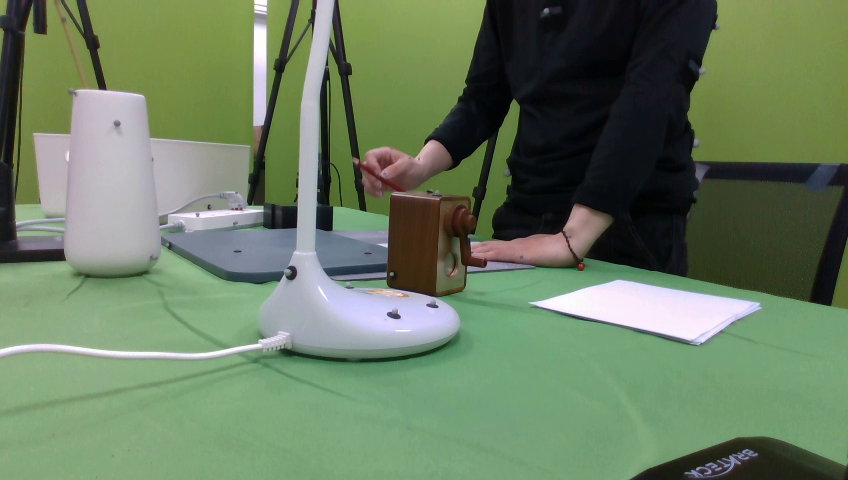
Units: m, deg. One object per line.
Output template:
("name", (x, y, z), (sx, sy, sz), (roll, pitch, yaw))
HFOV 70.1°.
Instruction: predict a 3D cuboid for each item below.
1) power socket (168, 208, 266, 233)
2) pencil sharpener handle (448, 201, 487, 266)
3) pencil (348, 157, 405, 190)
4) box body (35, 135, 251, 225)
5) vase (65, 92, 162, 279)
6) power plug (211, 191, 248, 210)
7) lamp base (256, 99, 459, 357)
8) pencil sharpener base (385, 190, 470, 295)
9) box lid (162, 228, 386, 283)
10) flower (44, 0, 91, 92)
("power socket", (-0.379, -0.038, 1.129), (0.072, 0.032, 0.227), (4, 8, 18))
("pencil sharpener handle", (0.049, -0.006, 0.623), (0.030, 0.068, 0.036), (8, 22, 37))
("pencil", (-0.047, -0.091, 1.033), (0.194, 0.012, 0.012), (31, 9, -1))
("box body", (-0.559, -0.127, 1.257), (0.253, 0.160, 0.365), (4, 8, 15))
("vase", (-0.347, -0.060, 0.673), (0.098, 0.200, 0.098), (1, 7, 0))
("power plug", (-0.384, -0.071, 1.205), (0.072, 0.052, 0.035), (1, 8, 28))
("lamp base", (-0.055, -0.013, 0.463), (0.160, 0.180, 0.180), (6, 11, 27))
("pencil sharpener base", (0.006, 0.001, 0.653), (0.076, 0.107, 0.061), (8, 9, 37))
("box lid", (-0.200, 0.014, 0.861), (0.265, 0.015, 0.369), (-4, 10, -35))
("flower", (-0.361, -0.142, 0.663), (0.044, 0.361, 0.038), (-12, 11, 30))
